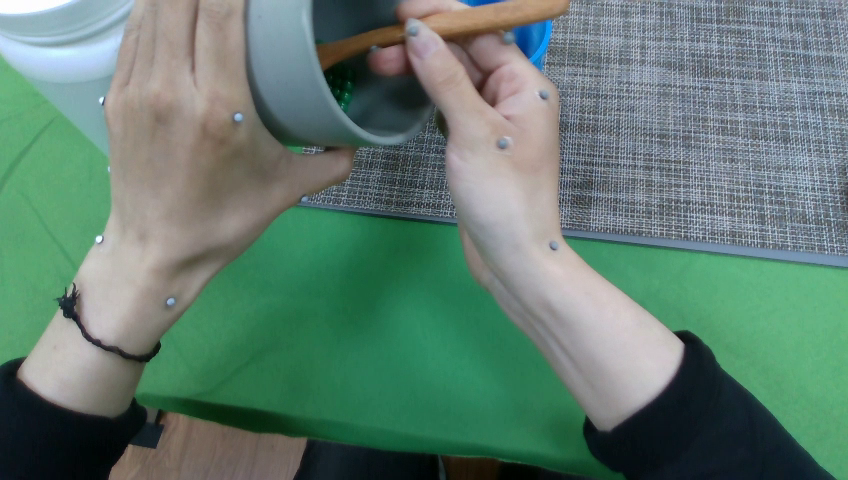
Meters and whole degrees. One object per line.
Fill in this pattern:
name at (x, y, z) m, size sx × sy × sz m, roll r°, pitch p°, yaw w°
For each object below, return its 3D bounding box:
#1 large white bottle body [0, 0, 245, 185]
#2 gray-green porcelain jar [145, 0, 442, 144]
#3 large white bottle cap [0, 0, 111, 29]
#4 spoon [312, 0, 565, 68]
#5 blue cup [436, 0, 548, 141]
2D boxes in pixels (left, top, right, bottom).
large white bottle body at (-0.207, -0.135, 0.423) m, size 0.130 × 0.186 × 0.129 m, roll -1°, pitch 67°, yaw 4°
gray-green porcelain jar at (-0.071, -0.104, 0.318) m, size 0.125 × 0.107 × 0.105 m, roll 6°, pitch 66°, yaw 33°
large white bottle cap at (-0.214, -0.169, 0.345) m, size 0.115 × 0.018 × 0.114 m, roll -1°, pitch 67°, yaw 4°
spoon at (-0.027, -0.100, 0.306) m, size 0.193 × 0.022 × 0.041 m, roll -8°, pitch 69°, yaw 18°
blue cup at (0.043, -0.123, 0.441) m, size 0.092 × 0.101 × 0.092 m, roll -2°, pitch 67°, yaw 5°
